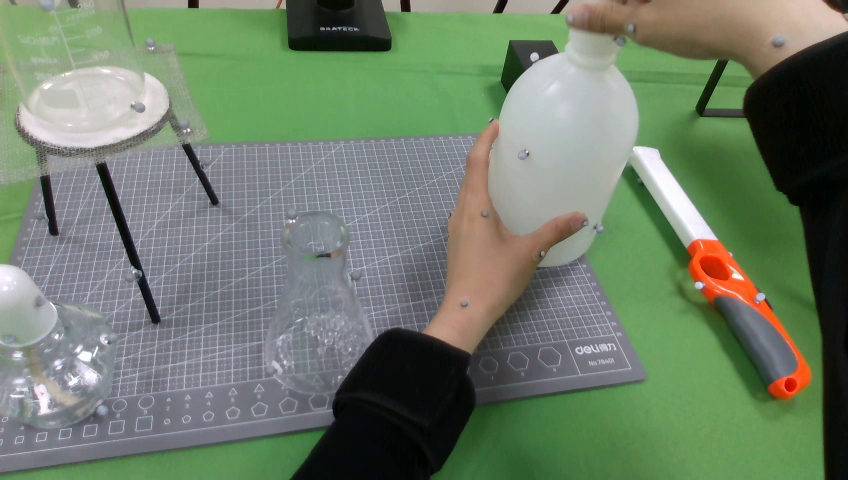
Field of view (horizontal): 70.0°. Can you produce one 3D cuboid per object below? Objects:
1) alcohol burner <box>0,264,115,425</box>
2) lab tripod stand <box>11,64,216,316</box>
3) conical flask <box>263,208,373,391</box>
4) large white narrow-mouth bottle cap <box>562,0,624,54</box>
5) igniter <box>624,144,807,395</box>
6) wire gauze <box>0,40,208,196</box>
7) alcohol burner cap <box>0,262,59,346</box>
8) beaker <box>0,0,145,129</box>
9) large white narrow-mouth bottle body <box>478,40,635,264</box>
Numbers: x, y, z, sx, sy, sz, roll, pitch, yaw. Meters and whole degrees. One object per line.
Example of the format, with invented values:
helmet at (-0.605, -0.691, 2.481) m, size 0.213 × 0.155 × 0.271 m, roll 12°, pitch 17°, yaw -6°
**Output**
alcohol burner at (-0.223, 0.055, 0.347) m, size 0.078 × 0.120 × 0.077 m, roll 6°, pitch 45°, yaw -5°
lab tripod stand at (-0.211, -0.040, 0.423) m, size 0.148 × 0.132 × 0.147 m, roll 6°, pitch 47°, yaw -6°
conical flask at (-0.068, 0.035, 0.383) m, size 0.075 × 0.123 × 0.074 m, roll 4°, pitch 47°, yaw -4°
large white narrow-mouth bottle cap at (0.110, -0.140, 0.396) m, size 0.038 × 0.024 × 0.037 m, roll 4°, pitch 47°, yaw -4°
igniter at (0.241, 0.009, 0.522) m, size 0.057 × 0.025 × 0.273 m, roll 4°, pitch 46°, yaw -20°
wire gauze at (-0.208, -0.085, 0.376) m, size 0.122 × 0.011 × 0.123 m, roll -17°, pitch 56°, yaw -20°
alcohol burner cap at (-0.219, 0.032, 0.320) m, size 0.034 × 0.048 × 0.033 m, roll 5°, pitch 52°, yaw -6°
beaker at (-0.207, -0.121, 0.341) m, size 0.084 × 0.101 × 0.073 m, roll -9°, pitch 51°, yaw -17°
large white narrow-mouth bottle body at (0.104, -0.077, 0.463) m, size 0.102 × 0.196 × 0.101 m, roll 4°, pitch 47°, yaw -3°
